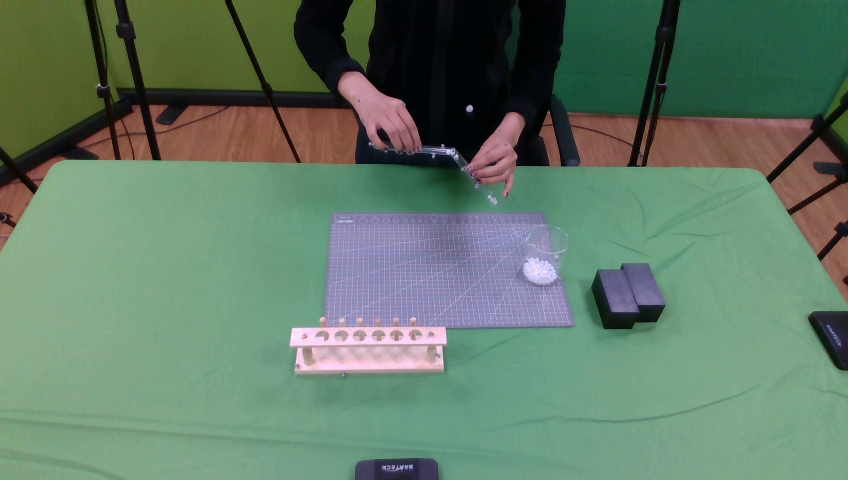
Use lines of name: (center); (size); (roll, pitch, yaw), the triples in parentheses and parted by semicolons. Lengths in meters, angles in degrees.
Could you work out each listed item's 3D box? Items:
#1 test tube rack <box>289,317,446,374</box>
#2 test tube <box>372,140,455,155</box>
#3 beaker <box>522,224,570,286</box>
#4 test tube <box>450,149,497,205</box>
test tube rack: (-0.089, 0.167, 0.988); (0.242, 0.085, 0.066); (0, 46, -4)
test tube: (-0.018, -0.163, 1.071); (0.150, 0.017, 0.017); (3, 45, -15)
beaker: (0.221, 0.032, 1.129); (0.084, 0.101, 0.073); (-6, 46, -9)
test tube: (0.095, -0.115, 1.134); (0.017, 0.151, 0.017); (-27, 38, 24)
